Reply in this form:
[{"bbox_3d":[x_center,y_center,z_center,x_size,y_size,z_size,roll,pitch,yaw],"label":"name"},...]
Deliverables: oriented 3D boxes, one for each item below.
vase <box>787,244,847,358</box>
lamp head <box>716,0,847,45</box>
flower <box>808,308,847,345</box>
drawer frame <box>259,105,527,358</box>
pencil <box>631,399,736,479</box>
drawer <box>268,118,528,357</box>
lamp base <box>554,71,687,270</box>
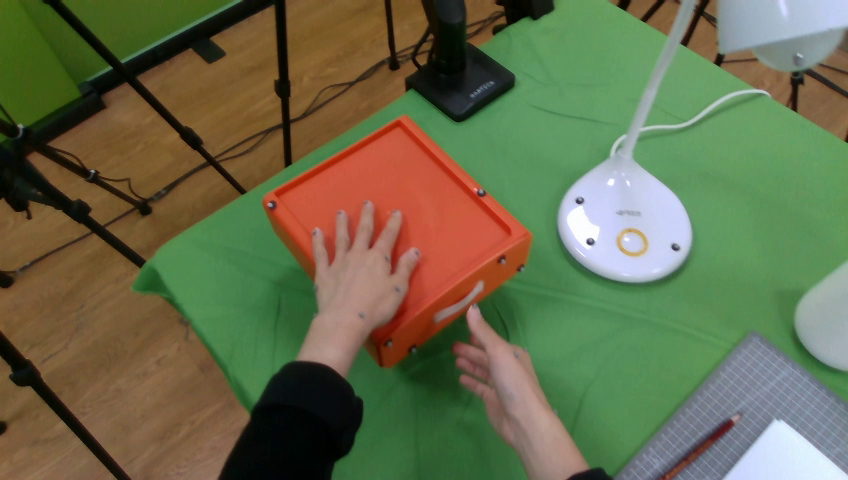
[{"bbox_3d":[0.444,0.039,0.594,0.098,0.202,0.097,-1,57,2],"label":"vase"},{"bbox_3d":[0.256,-0.205,0.420,0.112,0.112,0.123,-13,97,-7],"label":"lamp head"},{"bbox_3d":[0.459,-0.011,0.528,0.038,0.364,0.044,31,46,12],"label":"flower"},{"bbox_3d":[-0.034,-0.016,0.660,0.201,0.083,0.212,-35,65,-18],"label":"drawer frame"},{"bbox_3d":[0.244,0.211,0.600,0.194,0.012,0.012,-29,61,-18],"label":"pencil"},{"bbox_3d":[-0.030,-0.012,0.657,0.194,0.074,0.210,-35,63,-18],"label":"drawer"},{"bbox_3d":[0.237,-0.084,0.687,0.161,0.182,0.177,-7,55,-3],"label":"lamp base"}]
